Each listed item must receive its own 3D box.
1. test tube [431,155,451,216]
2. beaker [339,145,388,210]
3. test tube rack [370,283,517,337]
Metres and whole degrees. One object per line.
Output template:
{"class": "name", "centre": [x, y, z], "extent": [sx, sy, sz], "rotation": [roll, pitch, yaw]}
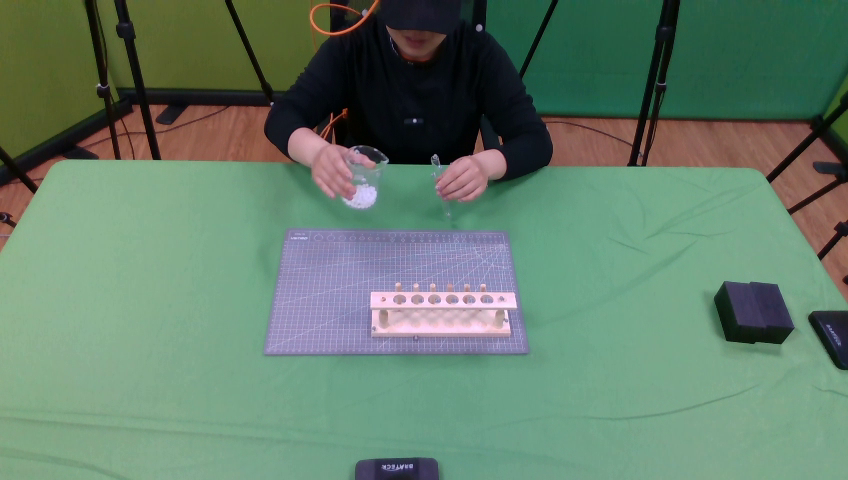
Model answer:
{"class": "test tube", "centre": [0.034, -0.103, 1.188], "extent": [0.017, 0.151, 0.017], "rotation": [-8, 44, 8]}
{"class": "beaker", "centre": [-0.113, -0.112, 1.110], "extent": [0.084, 0.100, 0.073], "rotation": [-6, 48, -24]}
{"class": "test tube rack", "centre": [0.030, 0.116, 1.041], "extent": [0.242, 0.085, 0.066], "rotation": [1, 46, -4]}
